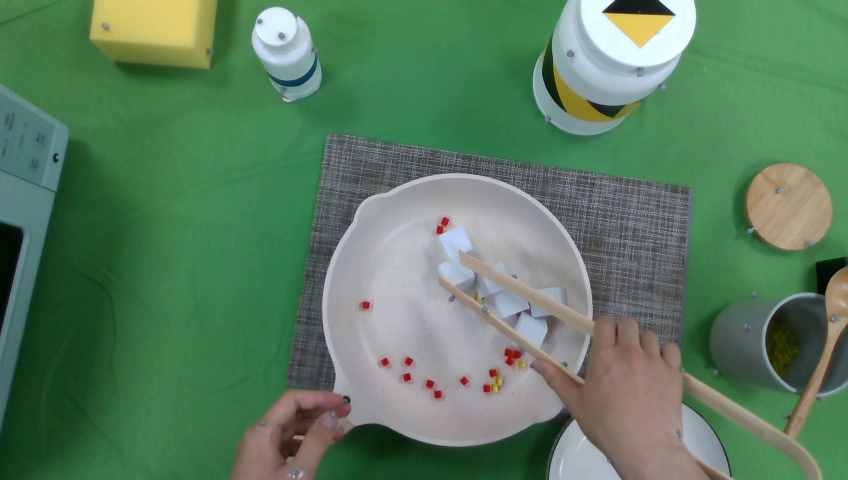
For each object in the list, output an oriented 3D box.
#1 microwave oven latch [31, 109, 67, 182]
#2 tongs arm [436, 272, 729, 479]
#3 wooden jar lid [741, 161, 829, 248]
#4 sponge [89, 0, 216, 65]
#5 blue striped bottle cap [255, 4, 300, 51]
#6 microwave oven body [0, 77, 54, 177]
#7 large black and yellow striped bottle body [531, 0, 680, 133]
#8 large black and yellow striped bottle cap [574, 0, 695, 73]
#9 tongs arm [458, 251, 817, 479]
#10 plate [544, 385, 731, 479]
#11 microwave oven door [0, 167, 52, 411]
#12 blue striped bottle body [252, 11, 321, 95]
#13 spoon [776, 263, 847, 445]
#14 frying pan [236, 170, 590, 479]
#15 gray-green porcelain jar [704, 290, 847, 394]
[{"bbox_3d":[-0.426,-0.107,0.678,0.030,0.029,0.079,12,83,-2],"label":"microwave oven latch"},{"bbox_3d":[0.159,0.124,0.569,0.051,0.027,0.381,-38,54,-22],"label":"tongs arm"},{"bbox_3d":[0.440,-0.043,0.743,0.108,0.021,0.108,0,84,-2],"label":"wooden jar lid"},{"bbox_3d":[-0.312,-0.322,0.718,0.118,0.061,0.206,3,83,-3],"label":"sponge"},{"bbox_3d":[-0.153,-0.223,0.633,0.044,0.020,0.044,0,84,-3],"label":"blue striped bottle cap"},{"bbox_3d":[-0.595,0.030,0.555,0.326,0.260,0.440,9,83,-2],"label":"microwave oven body"},{"bbox_3d":[0.199,-0.208,0.670,0.131,0.184,0.130,0,82,-3],"label":"large black and yellow striped bottle body"},{"bbox_3d":[0.204,-0.220,0.587,0.115,0.019,0.114,0,84,-2],"label":"large black and yellow striped bottle cap"},{"bbox_3d":[0.176,0.109,0.579,0.384,0.028,0.028,33,58,31],"label":"tongs arm"},{"bbox_3d":[0.236,0.266,0.683,0.208,0.039,0.207,0,84,-3],"label":"plate"},{"bbox_3d":[-0.458,0.093,0.549,0.039,0.244,0.354,9,82,-1],"label":"microwave oven door"},{"bbox_3d":[-0.155,-0.215,0.683,0.063,0.121,0.063,0,82,-2],"label":"blue striped bottle body"},{"bbox_3d":[0.388,0.112,0.597,0.041,0.021,0.193,24,86,-3],"label":"spoon"},{"bbox_3d":[-0.044,0.135,0.650,0.487,0.103,0.306,-39,85,-15],"label":"frying pan"},{"bbox_3d":[0.382,0.111,0.667,0.106,0.127,0.105,0,82,-3],"label":"gray-green porcelain jar"}]
